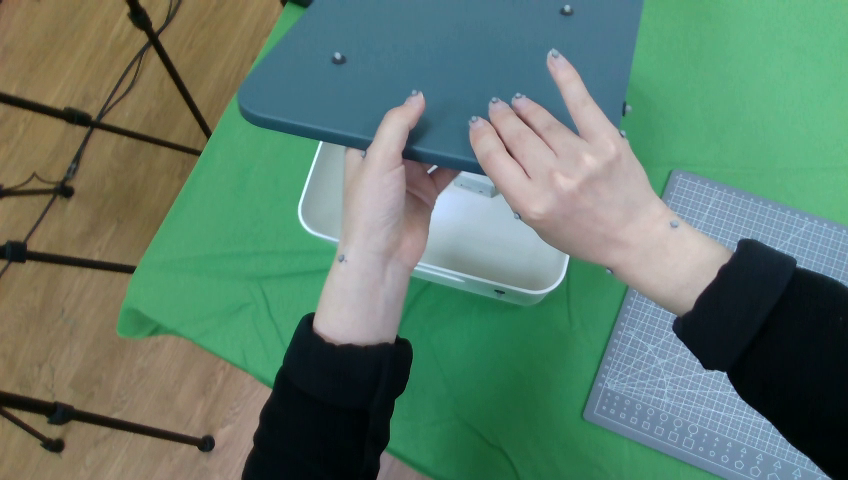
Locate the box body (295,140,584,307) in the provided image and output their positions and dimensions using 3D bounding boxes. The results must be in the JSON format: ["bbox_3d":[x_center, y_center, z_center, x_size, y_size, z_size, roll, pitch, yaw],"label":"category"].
[{"bbox_3d":[0.052,-0.129,0.650,0.253,0.161,0.363,15,79,9],"label":"box body"}]

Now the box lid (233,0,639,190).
[{"bbox_3d":[0.038,-0.186,0.499,0.262,0.015,0.369,13,51,11],"label":"box lid"}]

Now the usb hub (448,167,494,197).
[{"bbox_3d":[0.073,-0.115,0.706,0.049,0.025,0.125,20,78,13],"label":"usb hub"}]
